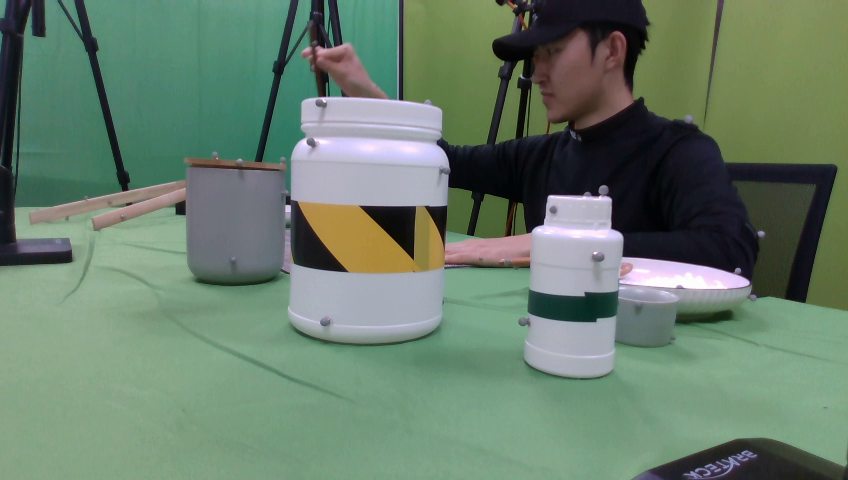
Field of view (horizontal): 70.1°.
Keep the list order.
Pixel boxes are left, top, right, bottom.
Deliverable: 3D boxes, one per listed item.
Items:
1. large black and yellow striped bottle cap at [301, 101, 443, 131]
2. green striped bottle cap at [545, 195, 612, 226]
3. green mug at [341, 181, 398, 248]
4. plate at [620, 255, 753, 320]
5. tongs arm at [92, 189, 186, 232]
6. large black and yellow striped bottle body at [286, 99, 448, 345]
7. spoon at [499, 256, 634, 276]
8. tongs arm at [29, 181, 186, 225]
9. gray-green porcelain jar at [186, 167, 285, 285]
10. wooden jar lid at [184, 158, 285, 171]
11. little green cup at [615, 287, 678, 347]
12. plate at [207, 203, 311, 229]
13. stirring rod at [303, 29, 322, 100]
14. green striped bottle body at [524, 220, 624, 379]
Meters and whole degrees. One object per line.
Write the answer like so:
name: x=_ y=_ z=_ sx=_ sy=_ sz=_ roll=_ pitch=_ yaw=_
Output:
large black and yellow striped bottle cap: x=-0.042 y=-0.099 z=0.491 sx=0.115 sy=0.019 sz=0.115 roll=1 pitch=8 yaw=0
green striped bottle cap: x=0.106 y=-0.020 z=0.414 sx=0.044 sy=0.020 sz=0.044 roll=2 pitch=3 yaw=0
green mug: x=-0.089 y=-0.044 z=0.997 sx=0.093 sy=0.105 sz=0.125 roll=1 pitch=7 yaw=-8
plate: x=0.234 y=0.049 z=0.651 sx=0.209 sy=0.038 sz=0.209 roll=2 pitch=7 yaw=0
tongs arm: x=-0.534 y=-0.076 z=1.221 sx=0.028 sy=0.028 sz=0.388 roll=-2 pitch=15 yaw=12
large black and yellow striped bottle body: x=-0.047 y=-0.018 z=0.501 sx=0.131 sy=0.184 sz=0.130 roll=2 pitch=7 yaw=0
spoon: x=0.162 y=0.027 z=0.679 sx=0.195 sy=0.021 sz=0.041 roll=8 pitch=2 yaw=-30
tongs arm: x=-0.609 y=-0.083 z=1.245 sx=0.050 sy=0.026 sz=0.386 roll=5 pitch=16 yaw=23
gray-green porcelain jar: x=-0.212 y=-0.017 z=0.682 sx=0.106 sy=0.126 sz=0.106 roll=2 pitch=7 yaw=0
wooden jar lid: x=-0.210 y=-0.078 z=0.674 sx=0.108 sy=0.020 sz=0.108 roll=5 pitch=6 yaw=0
little green cup: x=0.180 y=0.064 z=0.506 sx=0.061 sy=0.038 sz=0.061 roll=1 pitch=9 yaw=0
plate: x=-0.342 y=-0.050 z=1.259 sx=0.208 sy=0.039 sz=0.207 roll=2 pitch=7 yaw=0
stirring rod: x=-0.219 y=-0.334 z=1.210 sx=0.006 sy=0.176 sz=0.014 roll=7 pitch=37 yaw=18
green striped bottle body: x=0.104 y=0.031 z=0.422 sx=0.063 sy=0.119 sz=0.063 roll=2 pitch=7 yaw=0
